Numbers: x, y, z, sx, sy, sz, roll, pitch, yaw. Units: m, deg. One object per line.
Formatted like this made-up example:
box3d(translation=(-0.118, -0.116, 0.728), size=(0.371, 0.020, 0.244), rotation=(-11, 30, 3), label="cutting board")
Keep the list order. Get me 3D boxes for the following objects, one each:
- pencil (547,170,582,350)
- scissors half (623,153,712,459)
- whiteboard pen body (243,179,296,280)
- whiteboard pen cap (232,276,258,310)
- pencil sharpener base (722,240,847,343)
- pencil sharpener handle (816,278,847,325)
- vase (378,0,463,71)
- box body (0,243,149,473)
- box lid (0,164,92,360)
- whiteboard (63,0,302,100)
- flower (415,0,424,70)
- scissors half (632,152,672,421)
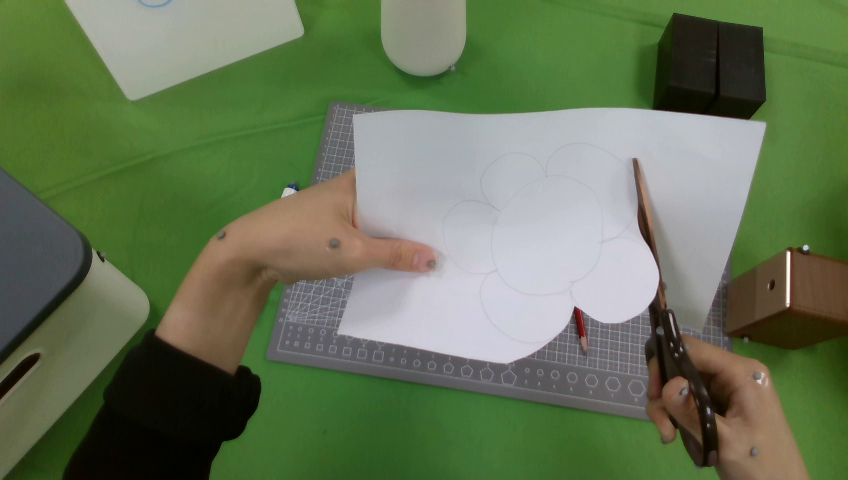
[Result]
box3d(translation=(0.146, 0.017, 0.624), size=(0.012, 0.012, 0.192), rotation=(-5, 72, -2), label="pencil")
box3d(translation=(0.133, 0.036, 0.336), size=(0.013, 0.040, 0.175), rotation=(-14, 87, 2), label="scissors half")
box3d(translation=(-0.162, -0.001, 0.622), size=(0.017, 0.017, 0.140), rotation=(15, 68, 5), label="whiteboard pen body")
box3d(translation=(-0.176, 0.051, 0.601), size=(0.018, 0.018, 0.033), rotation=(14, 66, 5), label="whiteboard pen cap")
box3d(translation=(0.340, 0.052, 0.564), size=(0.077, 0.107, 0.061), rotation=(13, 69, 1), label="pencil sharpener base")
box3d(translation=(0.391, 0.060, 0.552), size=(0.030, 0.068, 0.035), rotation=(13, 64, 1), label="pencil sharpener handle")
box3d(translation=(-0.005, -0.269, 0.629), size=(0.098, 0.201, 0.097), rotation=(0, 68, 1), label="vase")
box3d(translation=(-0.468, 0.029, 0.529), size=(0.362, 0.161, 0.253), rotation=(34, 73, 11), label="box body")
box3d(translation=(-0.469, 0.001, 0.460), size=(0.370, 0.015, 0.262), rotation=(34, 72, 11), label="box lid")
box3d(translation=(-0.290, -0.344, 0.628), size=(0.217, 0.308, 0.142), rotation=(-24, 52, -9), label="whiteboard")
box3d(translation=(-0.009, -0.312, 0.556), size=(0.044, 0.365, 0.038), rotation=(2, 51, 3), label="flower")
box3d(translation=(0.134, 0.032, 0.357), size=(0.013, 0.039, 0.176), rotation=(-13, 113, 7), label="scissors half")
